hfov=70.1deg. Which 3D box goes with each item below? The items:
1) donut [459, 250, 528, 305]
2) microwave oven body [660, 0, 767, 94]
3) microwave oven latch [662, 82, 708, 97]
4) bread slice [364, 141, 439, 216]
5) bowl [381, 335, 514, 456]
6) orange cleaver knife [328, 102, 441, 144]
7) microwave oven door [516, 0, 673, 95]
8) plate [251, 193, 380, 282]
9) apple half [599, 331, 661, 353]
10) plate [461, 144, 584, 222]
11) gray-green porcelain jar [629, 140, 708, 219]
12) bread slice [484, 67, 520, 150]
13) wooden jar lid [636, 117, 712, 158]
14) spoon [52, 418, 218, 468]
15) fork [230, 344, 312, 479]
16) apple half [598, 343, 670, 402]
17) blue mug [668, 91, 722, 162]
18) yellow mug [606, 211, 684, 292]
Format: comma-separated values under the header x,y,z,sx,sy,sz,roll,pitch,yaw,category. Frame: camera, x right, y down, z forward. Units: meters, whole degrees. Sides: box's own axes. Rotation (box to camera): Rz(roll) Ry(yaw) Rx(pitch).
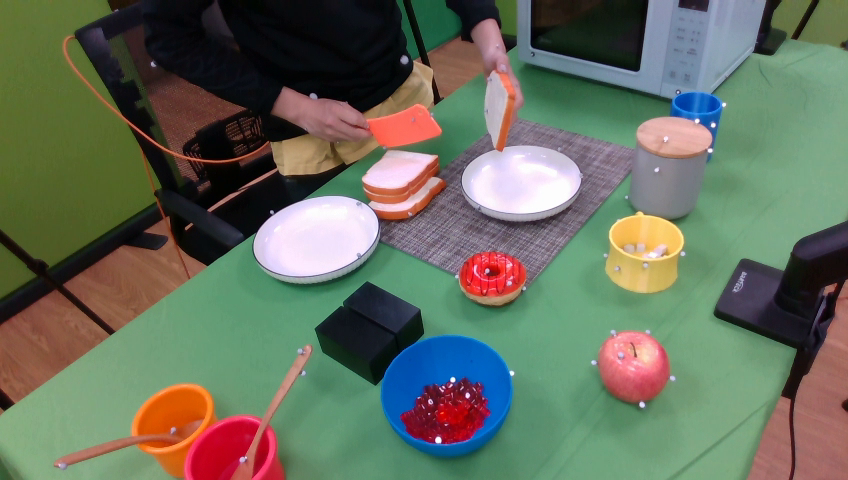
x,y,z,sx,sy,sz,roll,pitch,yaw,category
0.100,0.053,0.872,0.099,0.048,0.098,-5,40,4,donut
0.474,-0.516,1.313,0.438,0.261,0.327,26,51,34,microwave oven body
0.517,-0.298,1.202,0.078,0.029,0.030,27,52,34,microwave oven latch
-0.048,-0.106,1.038,0.106,0.018,0.134,18,74,22,bread slice
0.029,0.192,0.701,0.151,0.077,0.150,-4,40,4,bowl
-0.072,-0.201,1.079,0.210,0.078,0.012,-3,45,25,orange cleaver knife
0.344,-0.458,1.257,0.353,0.245,0.039,26,51,33,microwave oven door
-0.173,-0.001,0.984,0.209,0.038,0.208,-4,40,4,plate
0.249,0.134,0.738,0.081,0.081,0.032,-1,46,7,apple half
0.168,-0.095,1.040,0.207,0.039,0.206,-4,40,4,plate
0.383,-0.105,0.958,0.106,0.127,0.105,-4,41,4,gray-green porcelain jar
0.126,-0.228,1.017,0.019,0.105,0.130,0,37,-11,bread slice
0.377,-0.151,0.917,0.108,0.021,0.108,-2,42,2,wooden jar lid
-0.308,0.220,0.663,0.041,0.195,0.021,21,93,29,spoon
-0.173,0.205,0.662,0.028,0.019,0.207,29,94,36,fork
0.247,0.161,0.710,0.081,0.075,0.053,2,46,5,apple half
0.475,-0.207,1.078,0.082,0.106,0.116,4,42,13,blue mug
0.318,0.008,0.883,0.100,0.064,0.130,0,40,9,yellow mug
